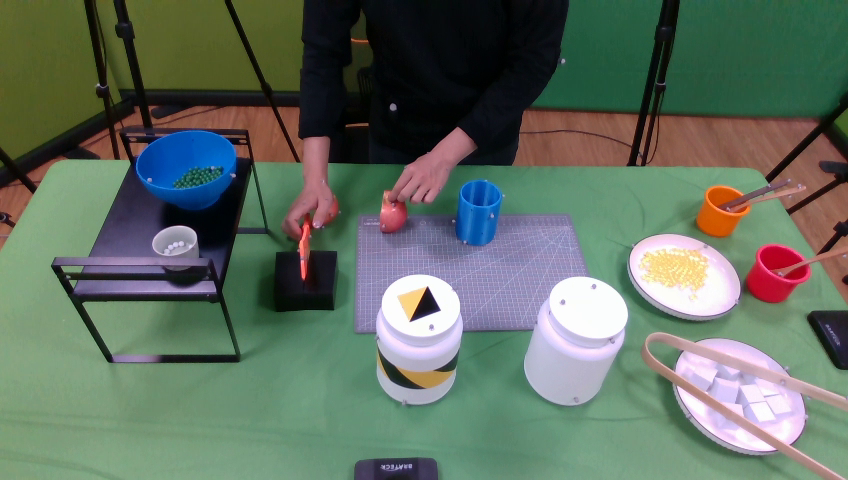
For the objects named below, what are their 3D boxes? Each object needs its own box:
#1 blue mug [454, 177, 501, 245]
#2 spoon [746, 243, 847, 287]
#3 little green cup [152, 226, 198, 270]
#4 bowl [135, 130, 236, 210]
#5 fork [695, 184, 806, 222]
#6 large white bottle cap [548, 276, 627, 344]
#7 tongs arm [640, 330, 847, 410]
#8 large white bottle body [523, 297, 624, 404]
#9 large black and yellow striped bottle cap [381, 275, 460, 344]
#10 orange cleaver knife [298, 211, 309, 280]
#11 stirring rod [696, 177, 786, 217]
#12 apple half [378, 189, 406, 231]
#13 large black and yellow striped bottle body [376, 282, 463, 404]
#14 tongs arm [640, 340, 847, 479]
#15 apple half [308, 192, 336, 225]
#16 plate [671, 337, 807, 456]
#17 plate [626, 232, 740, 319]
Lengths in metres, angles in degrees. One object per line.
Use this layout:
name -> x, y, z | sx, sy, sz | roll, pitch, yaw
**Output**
blue mug -> 0.106, -0.067, 1.208 | 0.082, 0.106, 0.116 | 6, 46, 1
spoon -> 0.702, 0.044, 1.126 | 0.194, 0.022, 0.041 | -29, 38, 30
little green cup -> -0.364, 0.013, 0.894 | 0.061, 0.039, 0.061 | 3, 46, -3
bowl -> -0.375, -0.102, 0.978 | 0.151, 0.077, 0.150 | 3, 46, -2
fork -> 0.658, -0.074, 1.229 | 0.207, 0.019, 0.028 | -24, 33, 36
large white bottle cap -> 0.240, 0.100, 0.890 | 0.115, 0.018, 0.114 | 3, 47, -3
tongs arm -> 0.543, 0.225, 0.969 | 0.384, 0.026, 0.050 | 22, 52, 13
large white bottle body -> 0.235, 0.159, 0.952 | 0.131, 0.185, 0.130 | 2, 47, -2
large black and yellow striped bottle cap -> -0.005, 0.099, 0.875 | 0.115, 0.019, 0.114 | 2, 45, -2
orange cleaver knife -> -0.223, 0.006, 1.124 | 0.012, 0.077, 0.210 | -2, 23, -7
stirring rod -> 0.648, -0.087, 1.244 | 0.176, 0.006, 0.014 | -25, 50, 29
apple half -> -0.063, -0.056, 1.207 | 0.053, 0.075, 0.080 | 6, 42, -4
large black and yellow striped bottle body -> -0.010, 0.155, 0.937 | 0.131, 0.185, 0.130 | 2, 47, -2
tongs arm -> 0.500, 0.277, 0.919 | 0.386, 0.028, 0.028 | 34, 59, 22
apple half -> -0.198, -0.059, 1.220 | 0.033, 0.081, 0.081 | 42, 43, -22
plate -> 0.504, 0.254, 0.984 | 0.208, 0.039, 0.206 | 2, 46, -2
plate -> 0.489, 0.071, 1.157 | 0.209, 0.038, 0.208 | 3, 46, -3
